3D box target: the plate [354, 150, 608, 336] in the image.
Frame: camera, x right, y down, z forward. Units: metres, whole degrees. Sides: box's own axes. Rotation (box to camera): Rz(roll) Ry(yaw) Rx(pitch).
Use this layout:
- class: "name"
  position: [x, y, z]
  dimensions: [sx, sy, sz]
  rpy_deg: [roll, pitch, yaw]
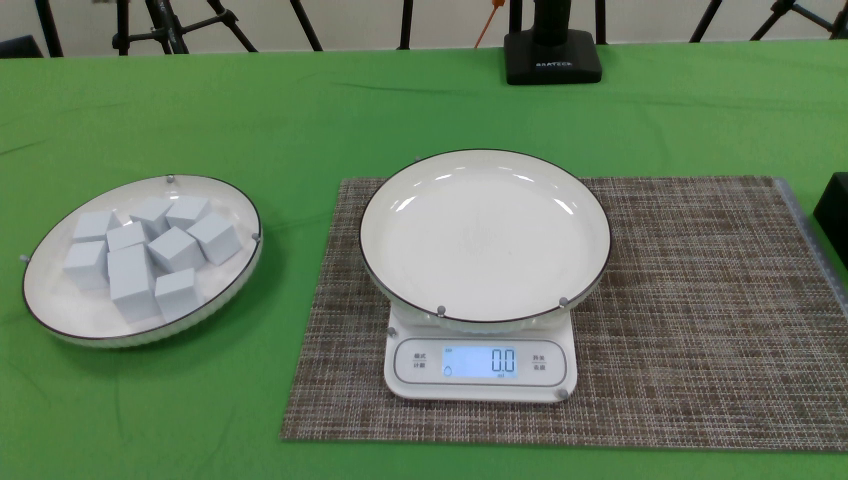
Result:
- class: "plate"
  position: [0.047, 0.001, 0.513]
  dimensions: [0.207, 0.039, 0.205]
  rpy_deg: [-1, 45, 1]

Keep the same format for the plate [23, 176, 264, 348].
- class: "plate"
  position: [-0.251, 0.019, 0.562]
  dimensions: [0.209, 0.038, 0.207]
  rpy_deg: [-1, 45, 2]

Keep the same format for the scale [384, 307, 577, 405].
- class: "scale"
  position: [0.048, 0.044, 0.516]
  dimensions: [0.148, 0.032, 0.199]
  rpy_deg: [1, 46, 5]
